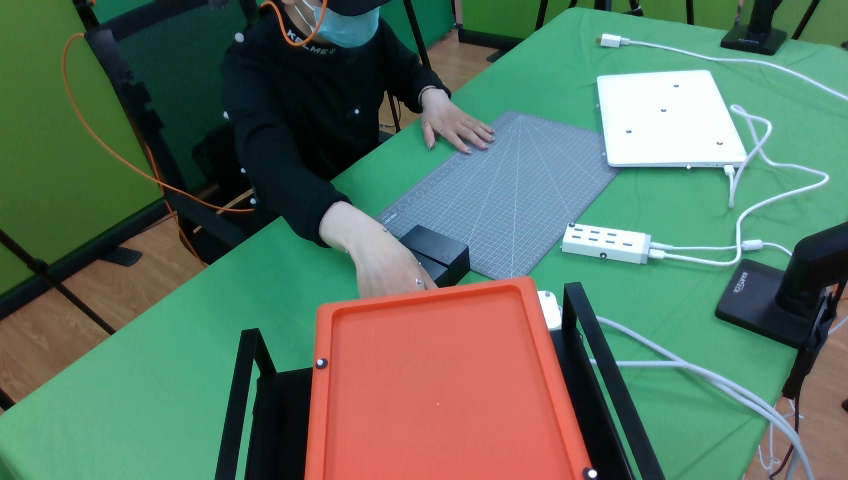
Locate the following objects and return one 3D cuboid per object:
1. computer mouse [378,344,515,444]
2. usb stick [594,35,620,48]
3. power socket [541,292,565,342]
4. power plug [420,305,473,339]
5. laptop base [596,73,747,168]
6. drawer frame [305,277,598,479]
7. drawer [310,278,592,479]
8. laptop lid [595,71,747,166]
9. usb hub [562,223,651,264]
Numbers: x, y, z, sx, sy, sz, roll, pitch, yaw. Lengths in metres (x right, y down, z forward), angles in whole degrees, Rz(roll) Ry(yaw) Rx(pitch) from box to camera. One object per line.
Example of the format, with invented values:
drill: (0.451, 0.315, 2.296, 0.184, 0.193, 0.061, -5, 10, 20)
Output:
computer mouse: (0.018, 0.126, 0.520, 0.116, 0.041, 0.063, 13, 47, 29)
usb stick: (0.443, -0.482, 1.466, 0.059, 0.021, 0.027, 9, 43, 10)
power socket: (0.079, 0.112, 0.822, 0.227, 0.033, 0.072, -5, 41, 2)
power plug: (0.026, 0.114, 0.780, 0.072, 0.053, 0.035, 44, 83, 12)
laptop base: (0.469, -0.238, 1.189, 0.235, 0.023, 0.353, -1, 40, 11)
drawer frame: (0.014, 0.137, 0.486, 0.202, 0.083, 0.212, -8, 41, -1)
drawer: (0.013, 0.137, 0.489, 0.195, 0.073, 0.210, -7, 41, 0)
laptop lid: (0.466, -0.248, 1.181, 0.241, 0.013, 0.355, 1, 41, 12)
usb hub: (0.279, 0.005, 0.926, 0.124, 0.025, 0.049, 10, 43, 19)
